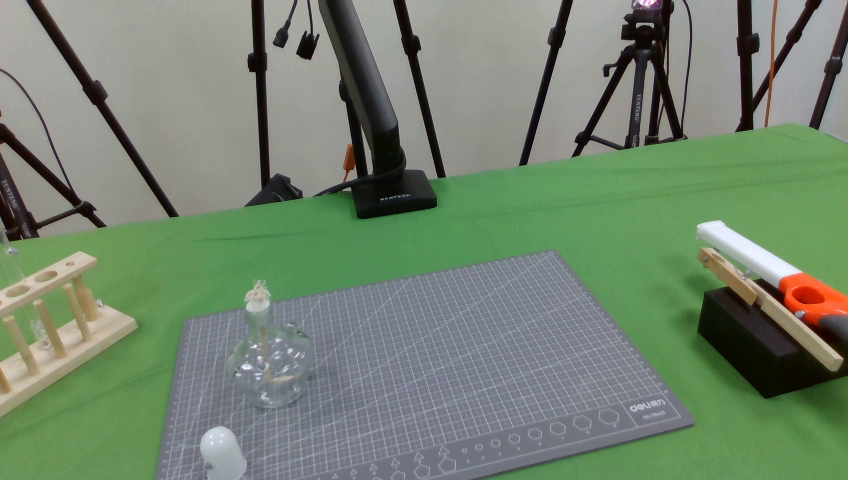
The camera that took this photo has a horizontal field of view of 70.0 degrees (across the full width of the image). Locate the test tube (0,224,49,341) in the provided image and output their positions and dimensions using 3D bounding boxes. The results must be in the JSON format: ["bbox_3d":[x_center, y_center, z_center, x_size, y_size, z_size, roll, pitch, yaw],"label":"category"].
[{"bbox_3d":[-0.410,0.040,0.609,0.017,0.151,0.017,-4,29,3],"label":"test tube"}]

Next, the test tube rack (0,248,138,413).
[{"bbox_3d":[-0.418,0.108,0.593,0.066,0.086,0.242,16,36,30],"label":"test tube rack"}]

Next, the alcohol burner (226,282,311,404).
[{"bbox_3d":[-0.145,0.090,0.554,0.078,0.120,0.077,-3,29,2],"label":"alcohol burner"}]

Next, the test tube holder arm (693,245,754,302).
[{"bbox_3d":[0.296,0.032,0.597,0.010,0.015,0.087,-5,30,-13],"label":"test tube holder arm"}]

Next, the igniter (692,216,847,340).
[{"bbox_3d":[0.350,0.041,0.570,0.057,0.025,0.273,-11,28,-10],"label":"igniter"}]

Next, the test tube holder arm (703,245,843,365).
[{"bbox_3d":[0.312,0.053,0.560,0.013,0.015,0.176,-5,30,-14],"label":"test tube holder arm"}]

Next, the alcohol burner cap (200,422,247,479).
[{"bbox_3d":[-0.166,0.170,0.495,0.034,0.048,0.033,-3,31,2],"label":"alcohol burner cap"}]
